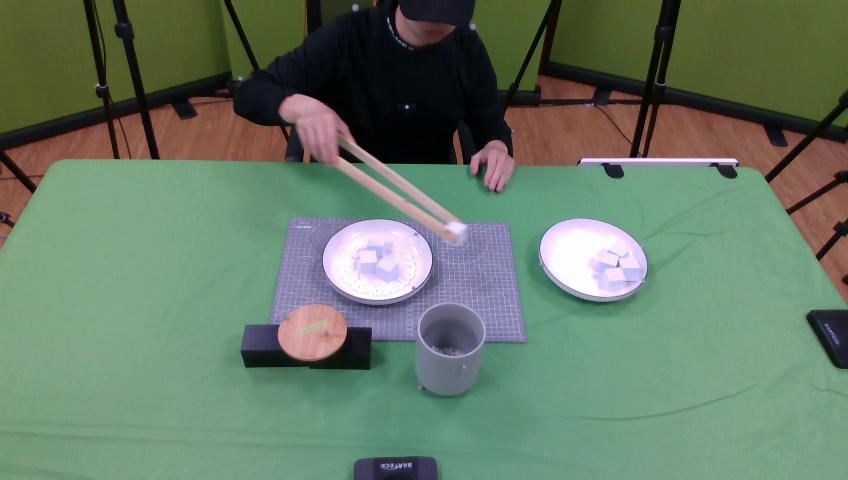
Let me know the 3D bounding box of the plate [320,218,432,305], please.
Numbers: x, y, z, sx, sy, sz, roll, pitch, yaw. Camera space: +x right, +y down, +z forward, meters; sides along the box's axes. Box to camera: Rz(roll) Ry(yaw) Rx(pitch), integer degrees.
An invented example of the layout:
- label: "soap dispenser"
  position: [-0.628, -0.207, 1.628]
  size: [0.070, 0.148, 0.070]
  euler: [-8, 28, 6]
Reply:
- label: "plate"
  position: [-0.089, 0.044, 1.134]
  size: [0.209, 0.038, 0.208]
  euler: [2, 46, -2]

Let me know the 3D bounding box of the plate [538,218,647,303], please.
- label: "plate"
  position: [0.322, 0.042, 1.171]
  size: [0.208, 0.039, 0.206]
  euler: [2, 46, -2]

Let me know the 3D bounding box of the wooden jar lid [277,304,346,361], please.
- label: "wooden jar lid"
  position: [-0.179, 0.150, 0.972]
  size: [0.108, 0.021, 0.107]
  euler: [2, 45, -2]

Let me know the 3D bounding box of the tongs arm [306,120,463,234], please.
- label: "tongs arm"
  position: [-0.081, -0.126, 1.162]
  size: [0.386, 0.028, 0.028]
  euler: [36, 52, 18]

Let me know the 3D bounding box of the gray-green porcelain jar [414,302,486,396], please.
- label: "gray-green porcelain jar"
  position: [0.038, 0.177, 0.958]
  size: [0.106, 0.127, 0.105]
  euler: [2, 46, -2]

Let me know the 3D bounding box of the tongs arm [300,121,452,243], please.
- label: "tongs arm"
  position: [-0.096, -0.115, 1.147]
  size: [0.383, 0.026, 0.050]
  euler: [33, 48, 15]
